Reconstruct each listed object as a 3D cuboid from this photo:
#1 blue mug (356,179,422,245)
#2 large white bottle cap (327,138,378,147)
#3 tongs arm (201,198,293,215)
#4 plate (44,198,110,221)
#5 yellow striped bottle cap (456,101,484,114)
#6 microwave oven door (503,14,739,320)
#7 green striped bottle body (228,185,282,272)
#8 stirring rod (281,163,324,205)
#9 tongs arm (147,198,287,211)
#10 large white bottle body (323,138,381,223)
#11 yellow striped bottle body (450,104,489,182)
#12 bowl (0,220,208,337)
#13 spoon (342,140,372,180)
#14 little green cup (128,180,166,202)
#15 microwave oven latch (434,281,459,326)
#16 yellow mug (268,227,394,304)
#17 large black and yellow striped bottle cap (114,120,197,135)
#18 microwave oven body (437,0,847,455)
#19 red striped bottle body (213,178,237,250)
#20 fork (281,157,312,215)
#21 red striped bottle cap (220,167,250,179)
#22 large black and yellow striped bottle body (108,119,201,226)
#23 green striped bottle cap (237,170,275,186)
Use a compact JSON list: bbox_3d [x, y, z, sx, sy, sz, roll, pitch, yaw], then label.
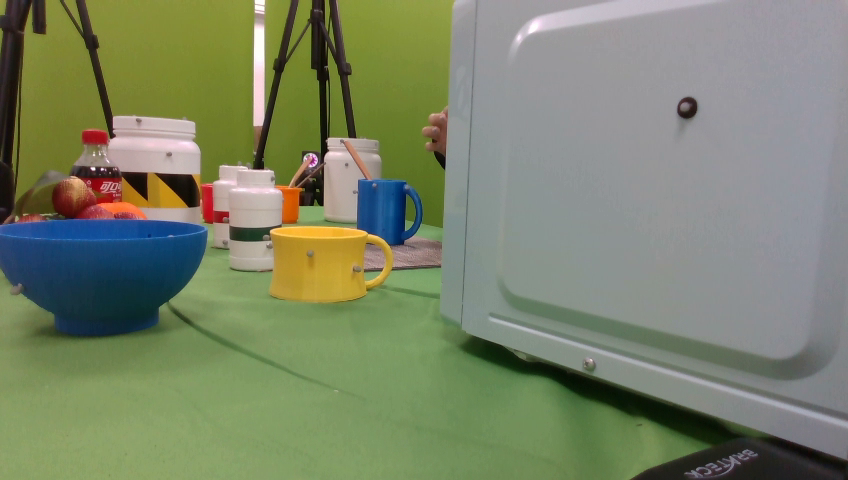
[{"bbox_3d":[-0.057,-0.047,1.006,0.116,0.106,0.082,5,8,21],"label":"blue mug"},{"bbox_3d":[-0.160,-0.218,1.357,0.115,0.018,0.115,2,8,0],"label":"large white bottle cap"},{"bbox_3d":[-0.423,-0.084,1.472,0.050,0.026,0.386,2,6,21],"label":"tongs arm"},{"bbox_3d":[-0.617,-0.056,1.179,0.209,0.038,0.209,3,7,0],"label":"plate"},{"bbox_3d":[0.072,-0.207,0.948,0.044,0.018,0.044,0,10,0],"label":"yellow striped bottle cap"},{"bbox_3d":[0.217,-0.065,0.601,0.358,0.243,0.039,-4,10,-41],"label":"microwave oven door"},{"bbox_3d":[-0.208,-0.023,0.745,0.063,0.119,0.063,2,7,0],"label":"green striped bottle body"},{"bbox_3d":[-0.278,-0.105,1.293,0.176,0.006,0.014,-47,24,-18],"label":"stirring rod"},{"bbox_3d":[-0.504,-0.091,1.513,0.028,0.028,0.389,0,4,37],"label":"tongs arm"},{"bbox_3d":[-0.163,-0.135,1.368,0.131,0.184,0.130,2,7,0],"label":"large white bottle body"},{"bbox_3d":[0.072,-0.155,0.958,0.063,0.120,0.063,0,11,0],"label":"yellow striped bottle body"},{"bbox_3d":[-0.251,0.029,0.479,0.151,0.077,0.151,2,7,0],"label":"bowl"},{"bbox_3d":[-0.093,-0.094,1.024,0.042,0.193,0.021,-8,-23,-50],"label":"spoon"},{"bbox_3d":[-0.485,-0.087,1.062,0.061,0.038,0.061,-1,6,0],"label":"little green cup"},{"bbox_3d":[0.044,0.045,0.470,0.079,0.029,0.030,-3,8,-39],"label":"microwave oven latch"},{"bbox_3d":[-0.094,0.023,0.629,0.131,0.064,0.099,0,7,-22],"label":"yellow mug"},{"bbox_3d":[-0.407,-0.171,0.920,0.115,0.019,0.115,2,9,0],"label":"large black and yellow striped bottle cap"},{"bbox_3d":[0.279,-0.040,0.464,0.444,0.260,0.324,-3,9,-41],"label":"microwave oven body"},{"bbox_3d":[-0.284,-0.048,0.909,0.063,0.119,0.063,3,10,0],"label":"red striped bottle body"},{"bbox_3d":[-0.289,-0.116,1.321,0.028,0.019,0.207,6,51,19],"label":"fork"},{"bbox_3d":[-0.281,-0.100,0.901,0.044,0.017,0.044,-1,5,0],"label":"red striped bottle cap"},{"bbox_3d":[-0.412,-0.088,0.930,0.131,0.184,0.130,3,7,0],"label":"large black and yellow striped bottle body"},{"bbox_3d":[-0.205,-0.075,0.737,0.044,0.020,0.044,1,7,0],"label":"green striped bottle cap"}]
